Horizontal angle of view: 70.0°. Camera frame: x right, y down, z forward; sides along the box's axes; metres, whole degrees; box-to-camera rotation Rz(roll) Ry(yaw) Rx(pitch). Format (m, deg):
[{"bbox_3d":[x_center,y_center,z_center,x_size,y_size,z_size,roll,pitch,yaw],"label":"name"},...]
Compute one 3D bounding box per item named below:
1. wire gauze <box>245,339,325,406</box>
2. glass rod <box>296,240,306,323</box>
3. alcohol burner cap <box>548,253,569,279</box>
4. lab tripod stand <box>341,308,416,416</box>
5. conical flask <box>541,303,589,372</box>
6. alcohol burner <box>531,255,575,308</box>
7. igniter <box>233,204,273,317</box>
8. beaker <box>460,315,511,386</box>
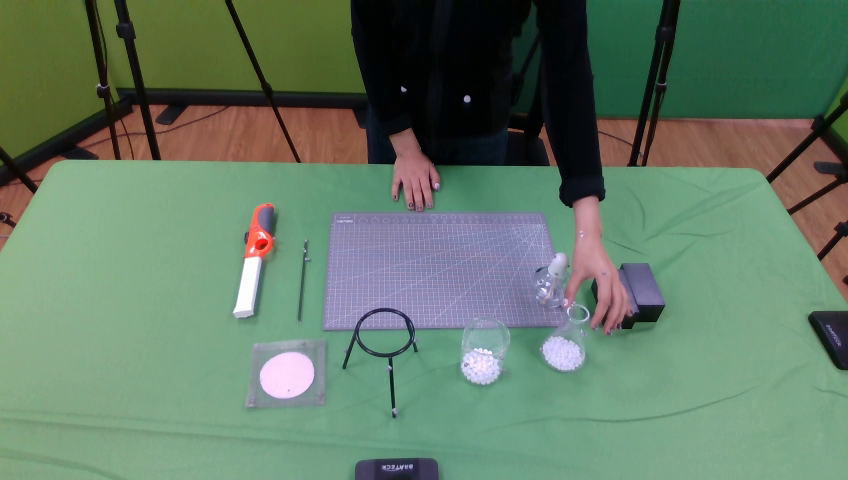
[{"bbox_3d":[-0.224,0.215,0.984,0.125,0.011,0.120,-3,46,-5],"label":"wire gauze"},{"bbox_3d":[-0.227,0.072,1.121,0.008,0.008,0.198,-1,46,-5],"label":"glass rod"},{"bbox_3d":[0.238,0.043,1.061,0.034,0.048,0.033,2,51,-2],"label":"alcohol burner cap"},{"bbox_3d":[-0.061,0.177,0.946,0.148,0.132,0.147,2,44,-2],"label":"lab tripod stand"},{"bbox_3d":[0.240,0.156,0.998,0.075,0.122,0.075,2,46,-2],"label":"conical flask"},{"bbox_3d":[0.235,0.066,1.087,0.078,0.119,0.077,4,45,-3],"label":"alcohol burner"},{"bbox_3d":[-0.321,0.029,1.142,0.057,0.025,0.274,-7,46,3],"label":"igniter"},{"bbox_3d":[0.094,0.183,0.977,0.084,0.101,0.073,-20,51,-21],"label":"beaker"}]
